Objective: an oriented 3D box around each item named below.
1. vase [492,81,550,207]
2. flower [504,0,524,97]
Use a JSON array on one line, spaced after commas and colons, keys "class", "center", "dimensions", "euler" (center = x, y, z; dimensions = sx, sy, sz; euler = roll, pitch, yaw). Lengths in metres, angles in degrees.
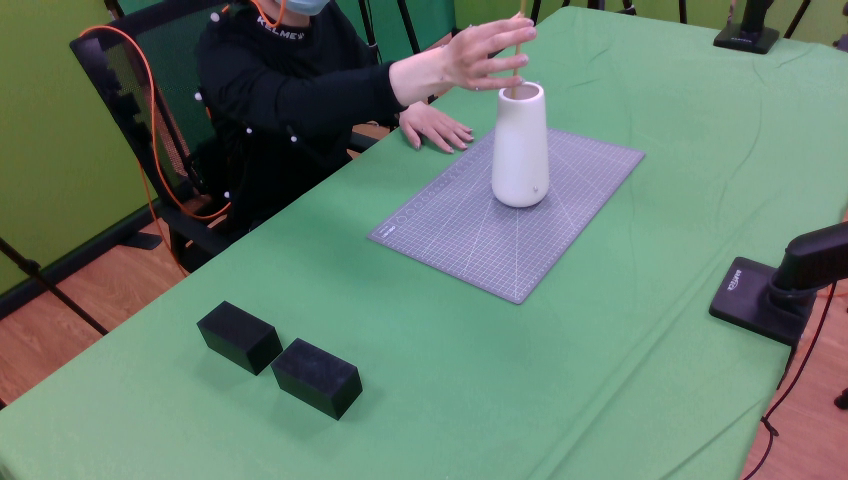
[{"class": "vase", "center": [0.159, -0.151, 0.982], "dimensions": [0.098, 0.201, 0.097], "euler": [-3, 41, 3]}, {"class": "flower", "center": [0.132, -0.331, 0.797], "dimensions": [0.044, 0.363, 0.038], "euler": [22, 54, 14]}]
